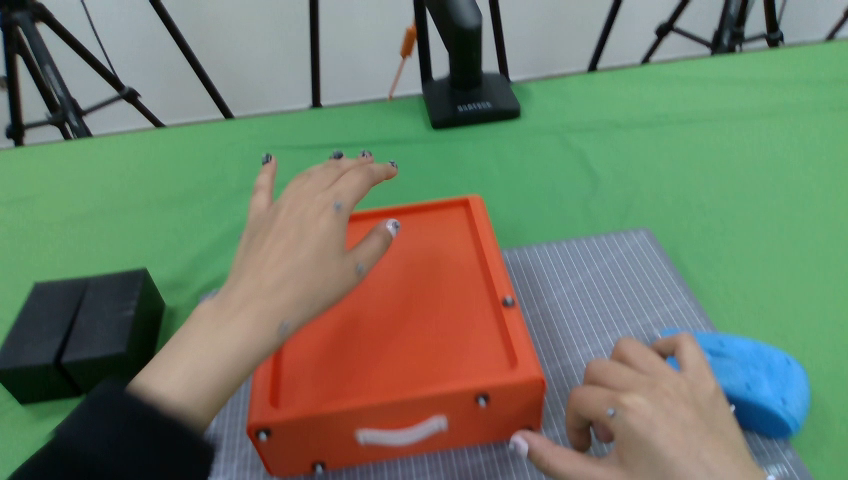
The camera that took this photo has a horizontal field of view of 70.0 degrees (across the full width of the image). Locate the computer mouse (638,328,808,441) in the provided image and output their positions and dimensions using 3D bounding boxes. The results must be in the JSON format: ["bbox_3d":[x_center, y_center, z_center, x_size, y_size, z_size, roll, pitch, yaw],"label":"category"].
[{"bbox_3d":[0.226,0.103,0.461,0.116,0.041,0.062,16,48,28],"label":"computer mouse"}]

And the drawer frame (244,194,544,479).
[{"bbox_3d":[-0.030,0.067,0.493,0.202,0.083,0.211,-9,41,-4],"label":"drawer frame"}]

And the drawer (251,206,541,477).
[{"bbox_3d":[-0.029,0.069,0.493,0.195,0.074,0.209,-9,41,-3],"label":"drawer"}]
